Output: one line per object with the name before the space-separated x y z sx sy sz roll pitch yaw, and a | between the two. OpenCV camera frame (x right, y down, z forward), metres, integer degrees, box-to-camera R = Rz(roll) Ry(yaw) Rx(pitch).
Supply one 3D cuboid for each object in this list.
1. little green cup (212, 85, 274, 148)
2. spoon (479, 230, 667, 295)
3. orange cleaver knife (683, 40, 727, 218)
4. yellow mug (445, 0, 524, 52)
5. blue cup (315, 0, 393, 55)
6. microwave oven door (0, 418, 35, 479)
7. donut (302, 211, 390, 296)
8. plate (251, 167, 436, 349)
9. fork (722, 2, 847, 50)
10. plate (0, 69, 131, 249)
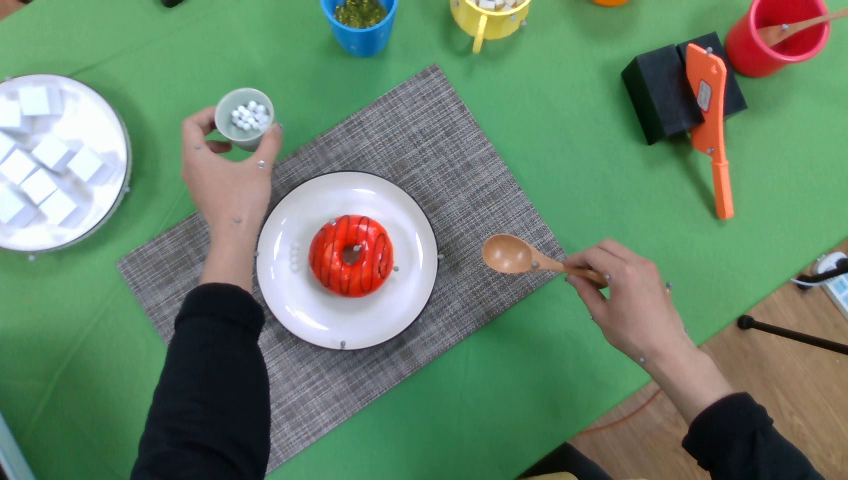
little green cup | -0.191 -0.130 0.651 0.061 0.039 0.061 -1 75 2
spoon | 0.152 0.029 0.623 0.193 0.022 0.041 15 90 11
orange cleaver knife | 0.332 -0.128 0.718 0.012 0.076 0.213 -18 115 -2
yellow mug | 0.073 -0.290 0.728 0.100 0.064 0.130 15 85 -1
blue cup | -0.079 -0.261 0.701 0.093 0.100 0.092 0 85 -4
microwave oven door | -0.403 0.309 0.542 0.039 0.244 0.355 -31 86 -6
donut | -0.088 0.015 0.691 0.099 0.048 0.099 0 86 -2
plate | -0.091 0.020 0.702 0.209 0.038 0.208 0 85 -3
fork | 0.460 -0.261 0.704 0.206 0.019 0.028 -9 81 38
plate | -0.441 -0.091 0.698 0.208 0.039 0.207 0 85 -3
